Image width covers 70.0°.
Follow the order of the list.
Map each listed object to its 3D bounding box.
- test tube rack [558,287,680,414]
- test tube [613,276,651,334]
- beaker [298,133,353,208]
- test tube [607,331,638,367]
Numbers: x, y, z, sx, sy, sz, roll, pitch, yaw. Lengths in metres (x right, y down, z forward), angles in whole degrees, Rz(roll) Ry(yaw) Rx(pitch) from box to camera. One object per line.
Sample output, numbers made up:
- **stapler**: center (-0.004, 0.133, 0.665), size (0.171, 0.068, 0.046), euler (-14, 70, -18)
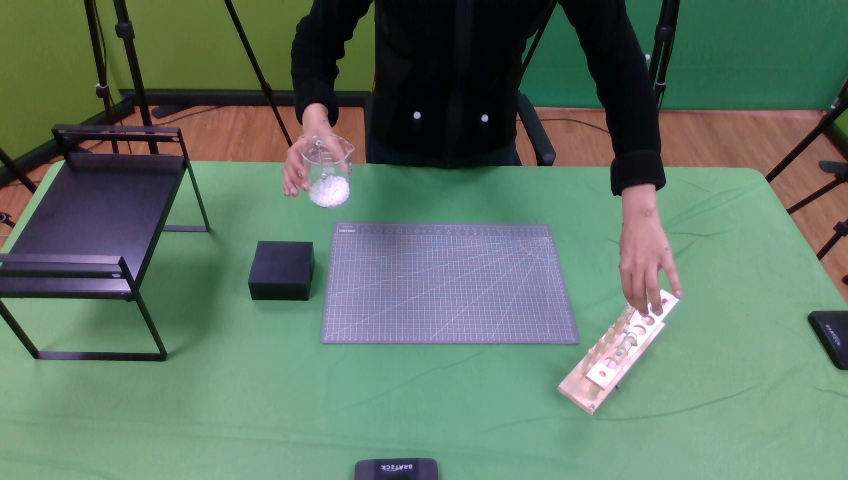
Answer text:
- **test tube rack**: center (0.327, 0.170, 1.009), size (0.066, 0.085, 0.242), euler (36, 54, 27)
- **test tube**: center (0.344, 0.109, 1.007), size (0.017, 0.151, 0.017), euler (3, 48, -3)
- **beaker**: center (-0.151, -0.107, 0.956), size (0.084, 0.101, 0.073), euler (-11, 50, -14)
- **test tube**: center (0.293, 0.184, 0.925), size (0.017, 0.151, 0.017), euler (4, 49, -4)
